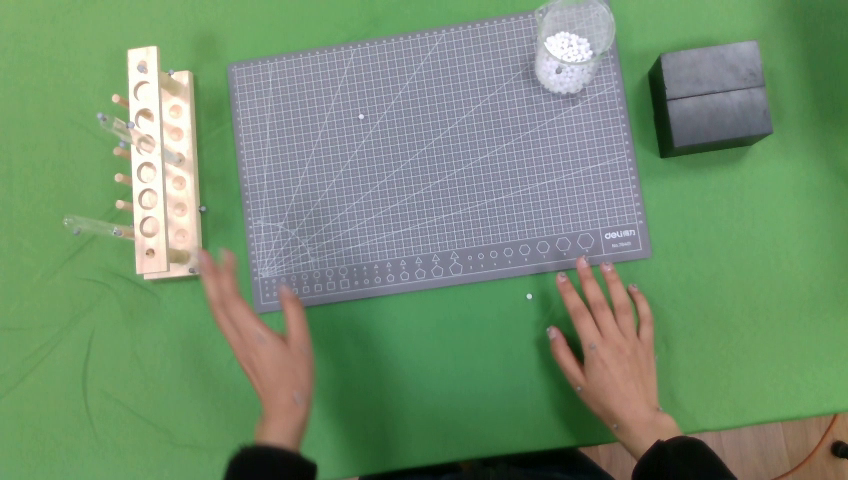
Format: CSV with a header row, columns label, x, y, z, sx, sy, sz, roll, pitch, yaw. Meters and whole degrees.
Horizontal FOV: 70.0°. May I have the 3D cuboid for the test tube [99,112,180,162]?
label,x,y,z,sx,sy,sz,roll,pitch,yaw
test tube,-0.290,-0.103,0.629,0.017,0.150,0.017,0,84,1

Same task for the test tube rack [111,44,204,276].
label,x,y,z,sx,sy,sz,roll,pitch,yaw
test tube rack,-0.304,-0.083,0.678,0.067,0.085,0.241,-6,85,5

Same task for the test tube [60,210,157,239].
label,x,y,z,sx,sy,sz,roll,pitch,yaw
test tube,-0.320,-0.013,0.629,0.017,0.151,0.017,-1,84,7

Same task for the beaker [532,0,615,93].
label,x,y,z,sx,sy,sz,roll,pitch,yaw
beaker,0.150,-0.205,0.639,0.084,0.100,0.074,29,88,8
